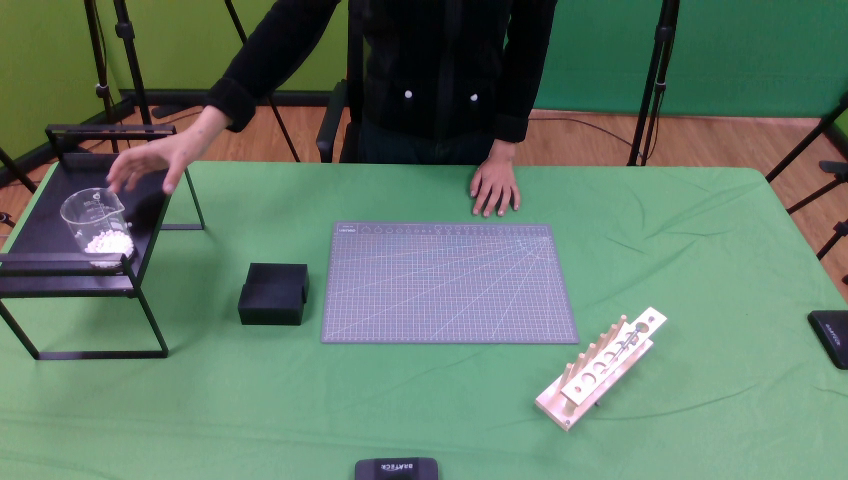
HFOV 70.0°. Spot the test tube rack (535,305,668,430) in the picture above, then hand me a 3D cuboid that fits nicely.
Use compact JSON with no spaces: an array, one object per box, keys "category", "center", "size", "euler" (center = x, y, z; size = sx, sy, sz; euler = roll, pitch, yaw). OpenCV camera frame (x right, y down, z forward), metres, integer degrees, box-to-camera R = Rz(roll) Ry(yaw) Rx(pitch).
[{"category":"test tube rack","center":[0.290,0.193,0.984],"size":[0.242,0.085,0.066],"euler":[-32,56,-30]}]

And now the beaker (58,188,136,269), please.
[{"category":"beaker","center":[-0.462,-0.014,0.871],"size":[0.084,0.101,0.073],"euler":[-1,47,-5]}]

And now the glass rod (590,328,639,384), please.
[{"category":"glass rod","center":[0.279,0.182,0.902],"size":[0.008,0.200,0.008],"euler":[4,52,-6]}]
